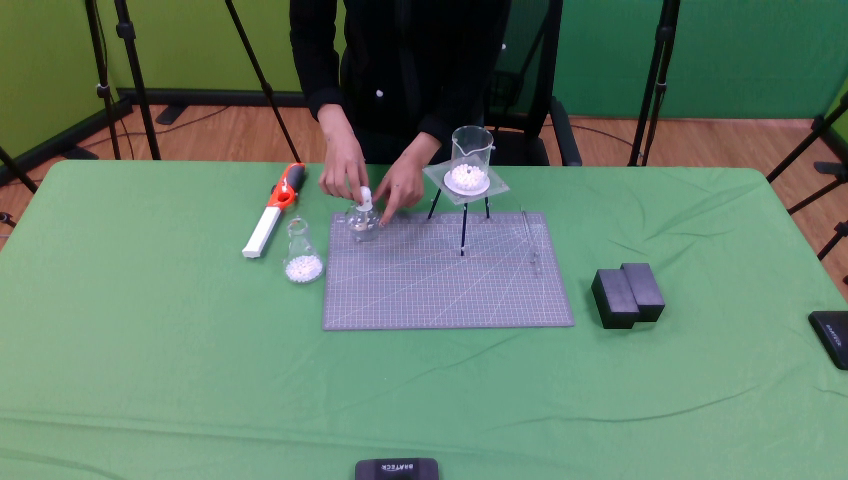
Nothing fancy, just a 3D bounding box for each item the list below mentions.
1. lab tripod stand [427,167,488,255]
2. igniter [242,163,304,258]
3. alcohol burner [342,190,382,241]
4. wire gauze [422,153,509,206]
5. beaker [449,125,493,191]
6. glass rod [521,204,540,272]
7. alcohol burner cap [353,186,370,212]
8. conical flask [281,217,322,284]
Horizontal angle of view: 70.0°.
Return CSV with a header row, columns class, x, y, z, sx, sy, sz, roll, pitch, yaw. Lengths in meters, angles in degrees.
class,x,y,z,sx,sy,sz,roll,pitch,yaw
lab tripod stand,0.076,-0.068,1.191,0.148,0.132,0.147,2,44,-2
igniter,-0.305,-0.069,1.239,0.057,0.025,0.275,2,45,12
alcohol burner,-0.120,-0.055,1.176,0.078,0.119,0.077,3,47,-3
wire gauze,0.078,-0.114,1.144,0.125,0.011,0.120,-21,49,-20
beaker,0.083,-0.146,1.108,0.074,0.101,0.083,15,47,11
glass rod,0.215,-0.008,1.230,0.008,0.008,0.198,0,43,-3
alcohol burner cap,-0.119,-0.080,1.150,0.034,0.048,0.033,1,42,-1
conical flask,-0.226,0.016,1.097,0.075,0.122,0.075,3,46,-2
